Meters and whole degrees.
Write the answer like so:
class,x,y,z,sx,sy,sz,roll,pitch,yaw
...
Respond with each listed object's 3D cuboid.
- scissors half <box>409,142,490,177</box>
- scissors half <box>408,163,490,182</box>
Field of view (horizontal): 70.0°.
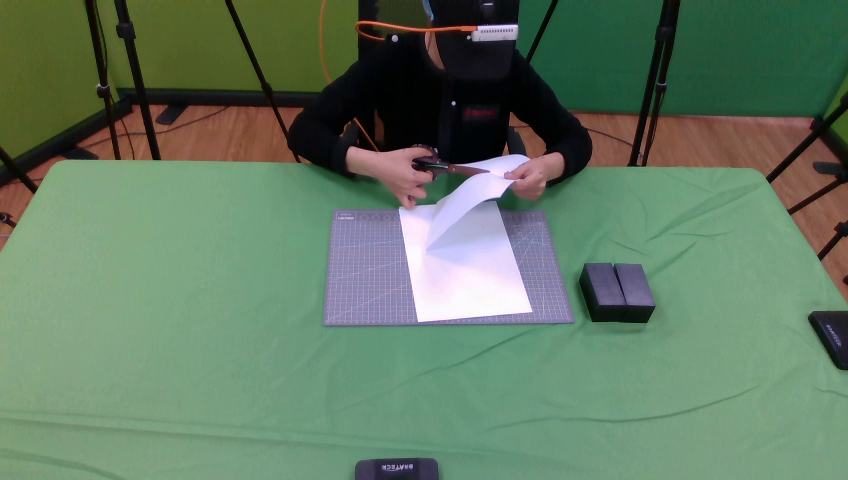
class,x,y,z,sx,sy,sz,roll,pitch,yaw
scissors half,0.050,-0.158,1.221,0.175,0.040,0.013,22,40,7
scissors half,0.050,-0.139,1.233,0.175,0.040,0.012,-1,29,23
